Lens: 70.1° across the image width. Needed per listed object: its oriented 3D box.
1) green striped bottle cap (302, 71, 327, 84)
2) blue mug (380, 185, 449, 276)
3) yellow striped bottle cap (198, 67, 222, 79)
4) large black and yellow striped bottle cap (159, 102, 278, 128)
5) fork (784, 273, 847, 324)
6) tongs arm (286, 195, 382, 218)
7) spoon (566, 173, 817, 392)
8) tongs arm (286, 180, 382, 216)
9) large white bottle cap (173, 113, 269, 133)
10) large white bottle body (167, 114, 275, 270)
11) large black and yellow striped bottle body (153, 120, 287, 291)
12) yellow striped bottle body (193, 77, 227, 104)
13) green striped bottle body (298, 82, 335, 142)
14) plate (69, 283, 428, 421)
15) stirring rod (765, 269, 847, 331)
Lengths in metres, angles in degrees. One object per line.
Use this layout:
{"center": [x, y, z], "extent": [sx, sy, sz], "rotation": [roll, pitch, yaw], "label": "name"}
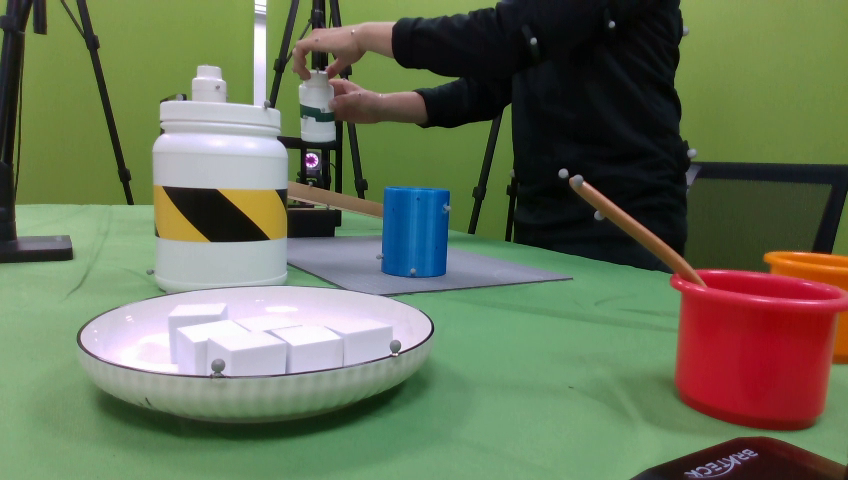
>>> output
{"center": [-0.197, -0.292, 1.087], "extent": [0.044, 0.020, 0.044], "rotation": [4, 20, -1], "label": "green striped bottle cap"}
{"center": [-0.018, -0.016, 0.764], "extent": [0.083, 0.106, 0.116], "rotation": [-2, 8, -25], "label": "blue mug"}
{"center": [-0.411, -0.320, 1.163], "extent": [0.044, 0.018, 0.044], "rotation": [1, 6, 0], "label": "yellow striped bottle cap"}
{"center": [-0.207, -0.125, 0.615], "extent": [0.115, 0.019, 0.115], "rotation": [2, 6, 0], "label": "large black and yellow striped bottle cap"}
{"center": [0.332, 0.018, 0.444], "extent": [0.028, 0.018, 0.207], "rotation": [-2, -35, -15], "label": "fork"}
{"center": [-0.165, -0.075, 1.216], "extent": [0.389, 0.027, 0.028], "rotation": [12, -5, -24], "label": "tongs arm"}
{"center": [0.161, 0.024, 0.370], "extent": [0.193, 0.021, 0.042], "rotation": [47, 18, 3], "label": "spoon"}
{"center": [-0.122, -0.066, 1.147], "extent": [0.387, 0.026, 0.050], "rotation": [11, -2, -38], "label": "tongs arm"}
{"center": [-0.254, -0.146, 0.760], "extent": [0.115, 0.018, 0.115], "rotation": [1, 7, 0], "label": "large white bottle cap"}
{"center": [-0.257, -0.063, 0.772], "extent": [0.131, 0.184, 0.130], "rotation": [2, 7, 0], "label": "large white bottle body"}
{"center": [-0.208, -0.043, 0.626], "extent": [0.131, 0.184, 0.130], "rotation": [2, 7, 0], "label": "large black and yellow striped bottle body"}
{"center": [-0.414, -0.268, 1.169], "extent": [0.063, 0.120, 0.063], "rotation": [2, 7, 0], "label": "yellow striped bottle body"}
{"center": [-0.197, -0.244, 1.104], "extent": [0.063, 0.119, 0.063], "rotation": [1, 20, 0], "label": "green striped bottle body"}
{"center": [-0.102, 0.066, 0.381], "extent": [0.208, 0.039, 0.207], "rotation": [2, 7, 0], "label": "plate"}
{"center": [0.351, 0.020, 0.484], "extent": [0.176, 0.006, 0.014], "rotation": [-40, -6, 12], "label": "stirring rod"}
